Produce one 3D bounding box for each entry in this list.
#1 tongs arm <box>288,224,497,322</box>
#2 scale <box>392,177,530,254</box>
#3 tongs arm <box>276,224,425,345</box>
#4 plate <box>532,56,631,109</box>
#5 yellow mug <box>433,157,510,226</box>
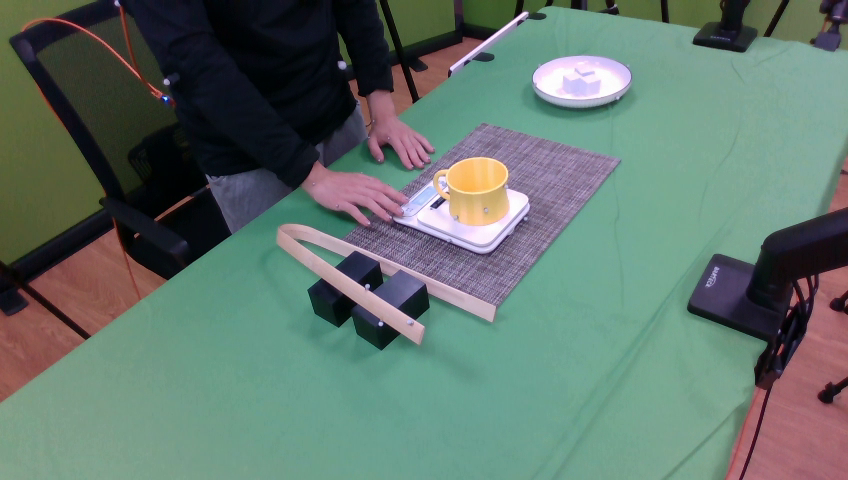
[{"bbox_3d":[-0.060,0.043,0.918,0.384,0.028,0.028,21,24,28],"label":"tongs arm"},{"bbox_3d":[0.060,-0.050,1.006,0.199,0.032,0.149,22,48,30],"label":"scale"},{"bbox_3d":[-0.114,0.050,0.856,0.051,0.026,0.381,-7,24,-44],"label":"tongs arm"},{"bbox_3d":[0.336,-0.335,1.301,0.207,0.039,0.206,-4,41,4],"label":"plate"},{"bbox_3d":[0.072,-0.082,0.968,0.130,0.064,0.100,13,45,24],"label":"yellow mug"}]
